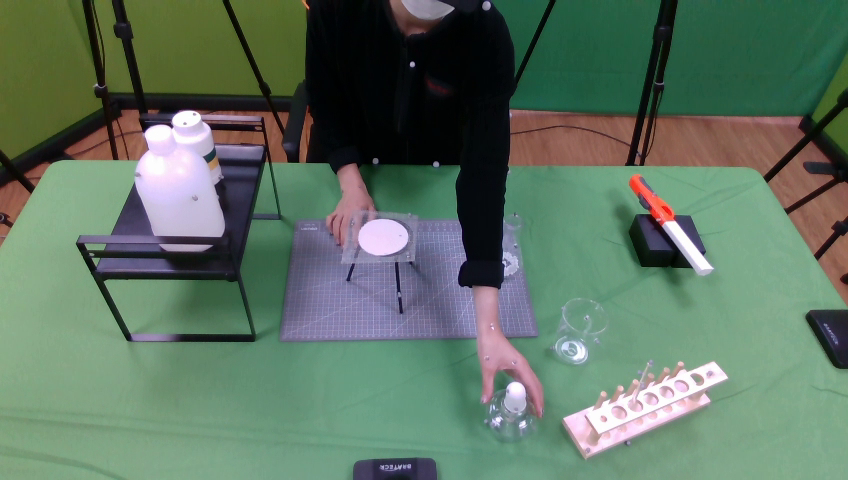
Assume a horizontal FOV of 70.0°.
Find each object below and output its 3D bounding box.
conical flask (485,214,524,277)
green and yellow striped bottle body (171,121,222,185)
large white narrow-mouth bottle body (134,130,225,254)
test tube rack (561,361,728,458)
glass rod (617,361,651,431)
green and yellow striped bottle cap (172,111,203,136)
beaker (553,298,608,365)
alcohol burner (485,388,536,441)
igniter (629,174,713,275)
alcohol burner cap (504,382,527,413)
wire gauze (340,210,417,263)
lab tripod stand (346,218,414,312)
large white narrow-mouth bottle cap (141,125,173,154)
[{"bbox_3d":[0.157,0.007,1.129,0.075,0.122,0.075,2,47,-2],"label":"conical flask"},{"bbox_3d":[-0.375,-0.149,0.995,0.063,0.120,0.063,2,46,-2],"label":"green and yellow striped bottle body"},{"bbox_3d":[-0.357,-0.075,0.875,0.102,0.195,0.101,1,47,-1],"label":"large white narrow-mouth bottle body"},{"bbox_3d":[0.341,0.248,0.940,0.243,0.085,0.066,-15,49,-18],"label":"test tube rack"},{"bbox_3d":[0.297,0.227,0.865,0.008,0.201,0.008,-1,48,1],"label":"glass rod"},{"bbox_3d":[-0.374,-0.185,0.958,0.045,0.020,0.045,4,45,-3],"label":"green and yellow striped bottle cap"},{"bbox_3d":[0.260,0.154,1.014,0.073,0.101,0.084,37,54,27],"label":"beaker"},{"bbox_3d":[0.131,0.249,0.904,0.078,0.120,0.077,1,48,-1],"label":"alcohol burner"},{"bbox_3d":[0.481,-0.040,1.202,0.057,0.025,0.274,-2,46,-21],"label":"igniter"},{"bbox_3d":[0.133,0.225,0.877,0.034,0.048,0.033,-4,47,5],"label":"alcohol burner cap"},{"bbox_3d":[-0.074,-0.006,1.023,0.121,0.011,0.124,3,45,0],"label":"wire gauze"},{"bbox_3d":[-0.070,0.037,1.075,0.148,0.132,0.147,1,48,-1],"label":"lab tripod stand"},{"bbox_3d":[-0.356,-0.134,0.811,0.038,0.024,0.037,1,47,-1],"label":"large white narrow-mouth bottle cap"}]
